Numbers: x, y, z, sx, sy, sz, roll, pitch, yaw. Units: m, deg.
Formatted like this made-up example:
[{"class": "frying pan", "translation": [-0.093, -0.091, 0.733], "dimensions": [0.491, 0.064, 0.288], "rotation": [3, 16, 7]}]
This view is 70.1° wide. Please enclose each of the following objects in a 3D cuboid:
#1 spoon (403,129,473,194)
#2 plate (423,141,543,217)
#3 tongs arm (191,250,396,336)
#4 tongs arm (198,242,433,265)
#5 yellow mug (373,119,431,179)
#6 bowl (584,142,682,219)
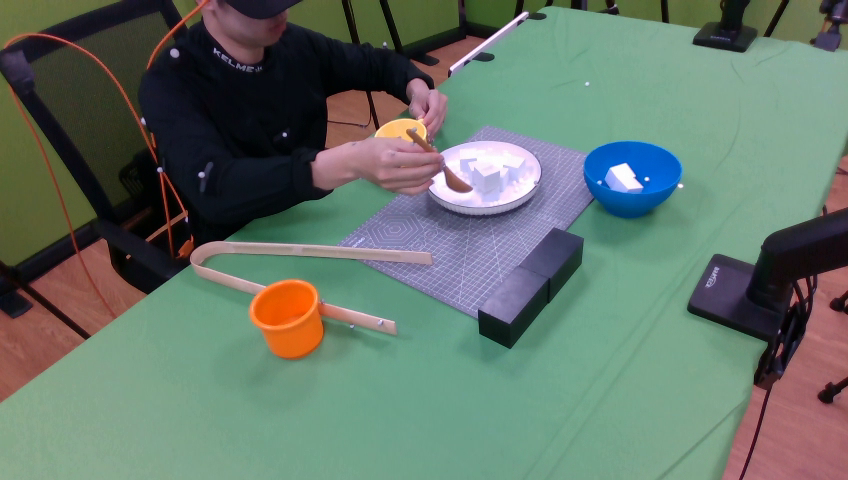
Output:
[{"class": "spoon", "translation": [0.020, -0.114, 0.903], "dimensions": [0.041, 0.195, 0.021], "rotation": [2, 66, 33]}, {"class": "plate", "translation": [0.103, -0.103, 1.059], "dimensions": [0.207, 0.039, 0.206], "rotation": [-4, 40, 4]}, {"class": "tongs arm", "translation": [-0.204, 0.074, 0.902], "dimensions": [0.382, 0.026, 0.051], "rotation": [11, 44, 22]}, {"class": "tongs arm", "translation": [-0.176, 0.023, 0.960], "dimensions": [0.386, 0.028, 0.028], "rotation": [2, 45, 12]}, {"class": "yellow mug", "translation": [-0.030, -0.182, 1.141], "dimensions": [0.099, 0.064, 0.131], "rotation": [25, 56, 30]}, {"class": "bowl", "translation": [0.333, -0.087, 0.980], "dimensions": [0.151, 0.077, 0.150], "rotation": [-4, 40, 4]}]
